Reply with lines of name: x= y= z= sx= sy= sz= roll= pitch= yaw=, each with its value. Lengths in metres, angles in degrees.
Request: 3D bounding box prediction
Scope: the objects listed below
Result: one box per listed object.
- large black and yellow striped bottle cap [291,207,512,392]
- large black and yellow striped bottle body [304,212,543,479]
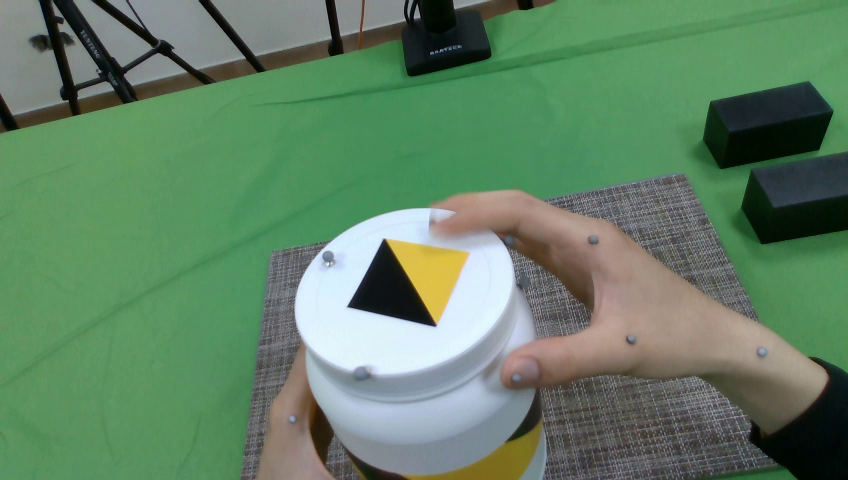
large black and yellow striped bottle cap: x=-0.012 y=0.025 z=0.314 sx=0.115 sy=0.019 sz=0.114 roll=-6 pitch=44 yaw=6
large black and yellow striped bottle body: x=0.004 y=0.085 z=0.371 sx=0.130 sy=0.186 sz=0.129 roll=-7 pitch=44 yaw=7
